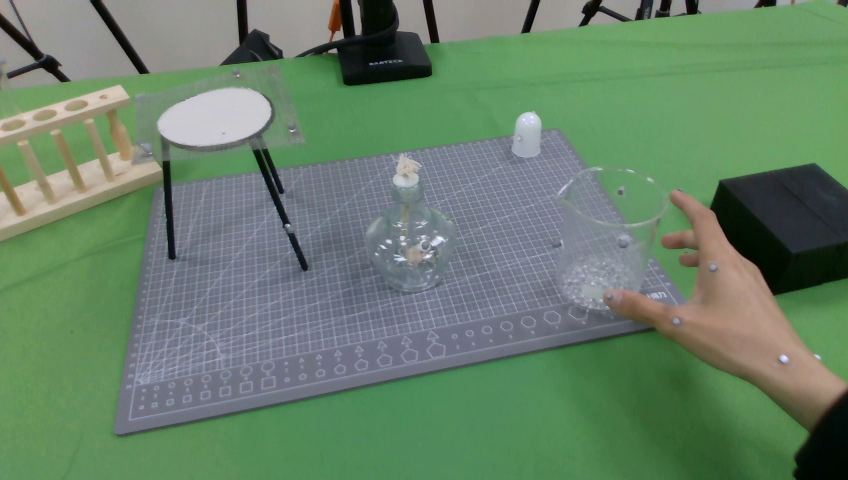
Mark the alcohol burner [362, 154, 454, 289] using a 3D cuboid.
[{"bbox_3d":[-0.014,-0.018,0.498,0.078,0.120,0.077,-1,41,2],"label":"alcohol burner"}]

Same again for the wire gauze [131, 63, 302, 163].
[{"bbox_3d":[-0.168,-0.102,0.481,0.125,0.011,0.120,-14,44,-12],"label":"wire gauze"}]

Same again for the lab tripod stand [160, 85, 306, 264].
[{"bbox_3d":[-0.166,-0.053,0.526,0.148,0.133,0.147,-1,45,1],"label":"lab tripod stand"}]

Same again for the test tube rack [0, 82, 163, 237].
[{"bbox_3d":[-0.395,-0.067,0.588,0.242,0.086,0.066,-27,48,-25],"label":"test tube rack"}]

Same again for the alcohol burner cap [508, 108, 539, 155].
[{"bbox_3d":[0.110,-0.121,0.659,0.034,0.048,0.033,-1,42,1],"label":"alcohol burner cap"}]

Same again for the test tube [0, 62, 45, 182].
[{"bbox_3d":[-0.391,-0.121,0.573,0.017,0.151,0.017,1,36,0],"label":"test tube"}]

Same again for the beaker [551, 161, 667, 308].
[{"bbox_3d":[0.141,-0.001,0.486,0.084,0.101,0.073,3,43,7],"label":"beaker"}]
